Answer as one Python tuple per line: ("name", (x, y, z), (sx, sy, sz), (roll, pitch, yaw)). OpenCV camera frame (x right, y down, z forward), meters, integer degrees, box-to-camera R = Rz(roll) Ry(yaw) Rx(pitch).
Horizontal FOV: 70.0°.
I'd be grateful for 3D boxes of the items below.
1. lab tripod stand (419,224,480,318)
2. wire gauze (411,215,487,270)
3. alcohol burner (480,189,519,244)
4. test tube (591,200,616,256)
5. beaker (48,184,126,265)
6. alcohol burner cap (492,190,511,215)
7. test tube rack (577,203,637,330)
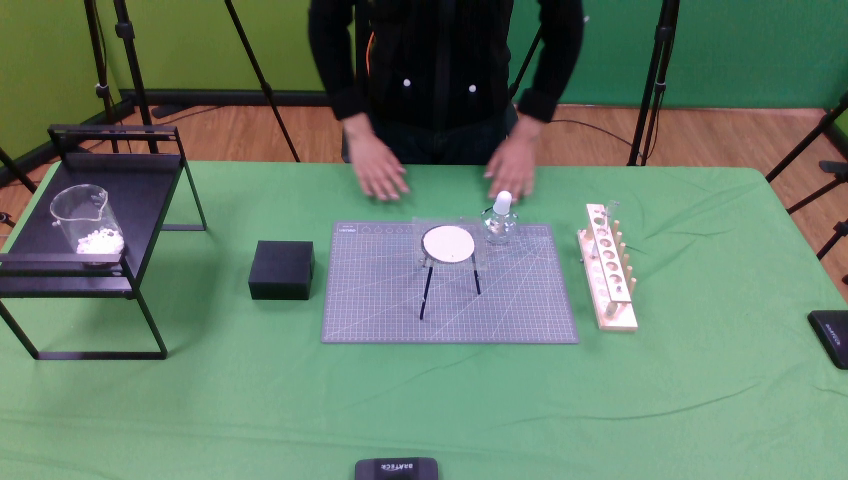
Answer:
("lab tripod stand", (0.034, 0.052, 1.070), (0.148, 0.132, 0.147), (3, 48, -3))
("wire gauze", (0.041, 0.002, 1.026), (0.125, 0.011, 0.120), (1, 46, -3))
("alcohol burner", (0.150, -0.051, 1.191), (0.078, 0.120, 0.077), (1, 46, -1))
("test tube", (0.333, -0.019, 1.130), (0.017, 0.151, 0.017), (0, 51, 0))
("beaker", (-0.479, -0.018, 0.875), (0.083, 0.101, 0.074), (30, 52, 22))
("alcohol burner cap", (0.151, -0.076, 1.165), (0.034, 0.048, 0.033), (5, 49, -6))
("test tube rack", (0.348, 0.045, 1.139), (0.067, 0.085, 0.241), (2, 46, -2))
